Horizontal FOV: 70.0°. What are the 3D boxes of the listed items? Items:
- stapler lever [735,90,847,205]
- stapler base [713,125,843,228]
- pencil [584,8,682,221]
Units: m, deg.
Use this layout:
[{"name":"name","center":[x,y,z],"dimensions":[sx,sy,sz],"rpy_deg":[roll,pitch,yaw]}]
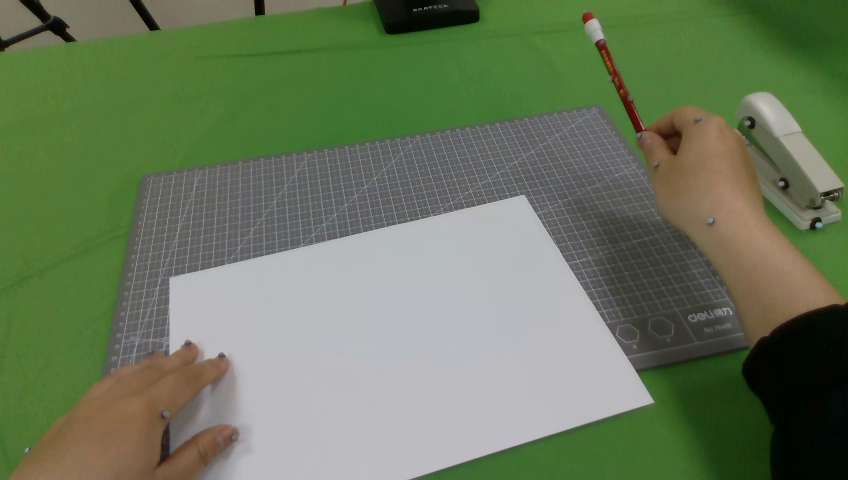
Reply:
[{"name":"stapler lever","center":[0.303,-0.081,0.503],"dimensions":[0.027,0.040,0.116],"rpy_deg":[-16,50,-8]},{"name":"stapler base","center":[0.303,-0.064,0.523],"dimensions":[0.041,0.025,0.129],"rpy_deg":[-15,49,-8]},{"name":"pencil","center":[0.165,-0.103,0.478],"dimensions":[0.012,0.012,0.193],"rpy_deg":[-15,74,-10]}]
